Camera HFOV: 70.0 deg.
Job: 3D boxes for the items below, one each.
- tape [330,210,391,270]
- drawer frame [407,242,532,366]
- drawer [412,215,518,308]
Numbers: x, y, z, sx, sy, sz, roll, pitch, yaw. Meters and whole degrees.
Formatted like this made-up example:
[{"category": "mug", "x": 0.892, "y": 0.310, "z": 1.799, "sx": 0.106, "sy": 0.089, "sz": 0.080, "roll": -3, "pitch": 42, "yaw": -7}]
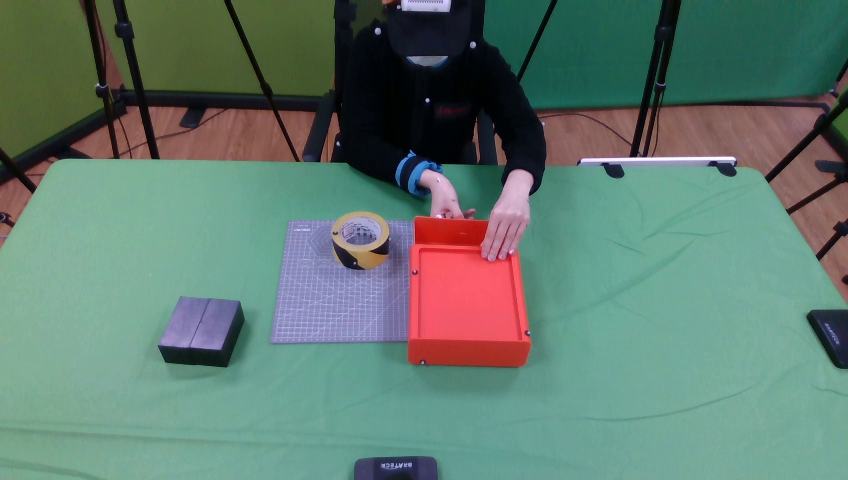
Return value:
[{"category": "tape", "x": -0.123, "y": -0.002, "z": 1.164, "sx": 0.117, "sy": 0.053, "sz": 0.116, "roll": 3, "pitch": 46, "yaw": -2}, {"category": "drawer frame", "x": 0.073, "y": 0.107, "z": 1.053, "sx": 0.202, "sy": 0.083, "sz": 0.212, "roll": 2, "pitch": 47, "yaw": -3}, {"category": "drawer", "x": 0.074, "y": 0.054, "z": 1.103, "sx": 0.194, "sy": 0.073, "sz": 0.210, "roll": 3, "pitch": 47, "yaw": -2}]
